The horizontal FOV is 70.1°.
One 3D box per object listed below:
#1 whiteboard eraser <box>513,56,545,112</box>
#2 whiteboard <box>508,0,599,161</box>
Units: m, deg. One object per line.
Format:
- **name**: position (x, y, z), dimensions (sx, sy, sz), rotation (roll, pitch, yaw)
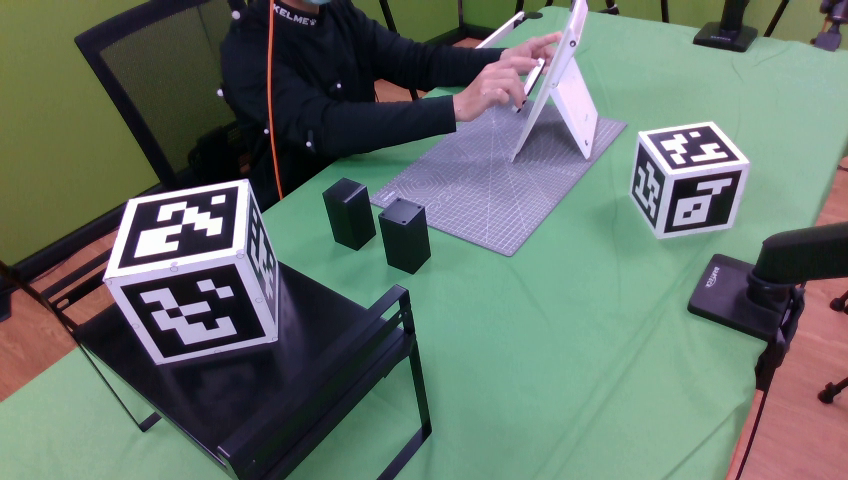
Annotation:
- **whiteboard eraser**: position (0.188, -0.279, 1.083), dimensions (0.019, 0.101, 0.041), rotation (26, 21, 2)
- **whiteboard**: position (0.285, -0.289, 1.089), dimensions (0.144, 0.305, 0.217), rotation (22, 45, 3)
